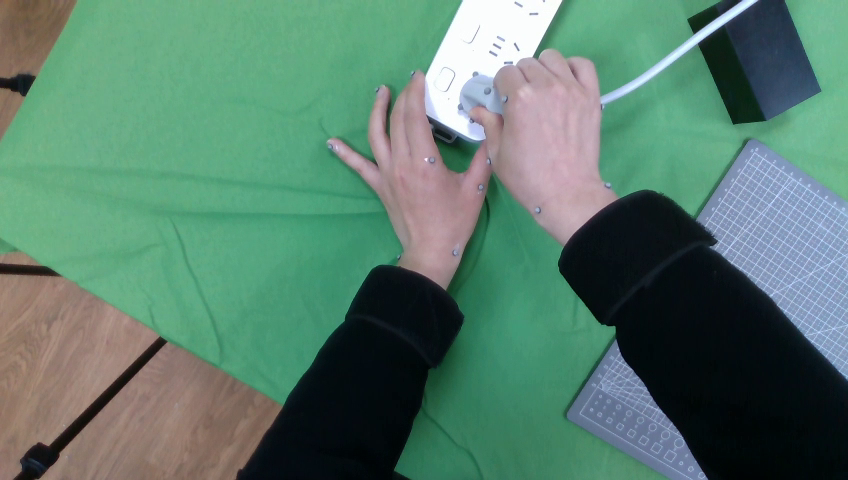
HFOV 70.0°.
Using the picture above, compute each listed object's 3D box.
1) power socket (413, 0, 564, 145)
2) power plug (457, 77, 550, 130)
[{"bbox_3d":[0.067,-0.183,0.494,0.072,0.032,0.227,28,96,-7],"label":"power socket"},{"bbox_3d":[0.059,-0.101,0.488,0.073,0.052,0.035,38,95,-10],"label":"power plug"}]
